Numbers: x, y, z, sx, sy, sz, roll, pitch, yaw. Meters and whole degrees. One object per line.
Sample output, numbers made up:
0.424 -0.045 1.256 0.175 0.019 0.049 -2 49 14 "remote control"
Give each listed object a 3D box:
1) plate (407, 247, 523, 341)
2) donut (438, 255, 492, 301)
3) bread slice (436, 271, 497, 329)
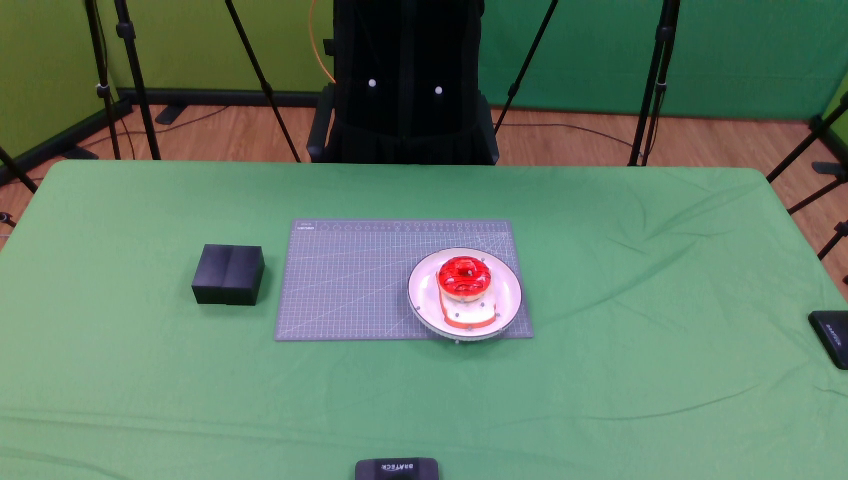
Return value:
0.073 0.099 1.093 0.209 0.038 0.208 2 46 -2 "plate"
0.073 0.066 1.086 0.099 0.048 0.098 0 44 1 "donut"
0.081 0.103 1.091 0.105 0.019 0.130 -3 46 -5 "bread slice"
